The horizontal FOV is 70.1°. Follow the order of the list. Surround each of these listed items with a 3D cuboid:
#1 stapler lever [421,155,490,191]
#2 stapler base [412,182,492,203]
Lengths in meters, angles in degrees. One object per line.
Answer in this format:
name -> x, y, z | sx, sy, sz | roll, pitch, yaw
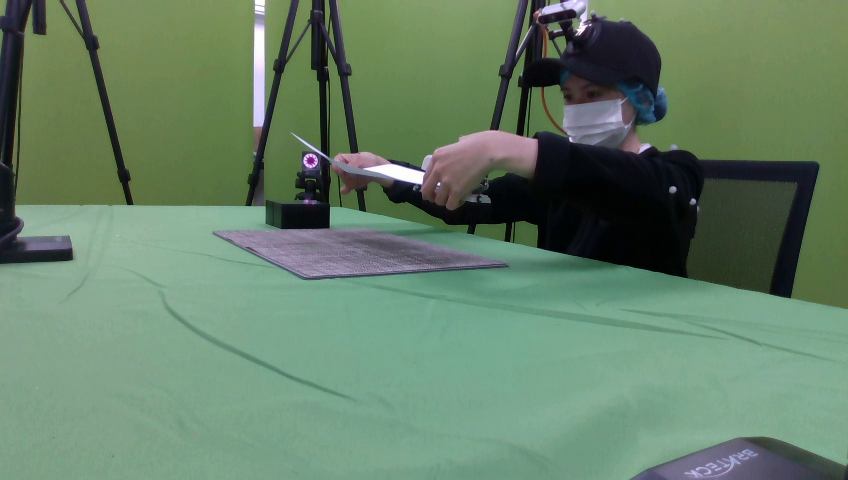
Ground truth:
stapler lever -> 0.043, -0.096, 0.854 | 0.027, 0.040, 0.117 | -2, 13, -44
stapler base -> 0.038, -0.074, 0.858 | 0.041, 0.024, 0.130 | -2, 14, -44
